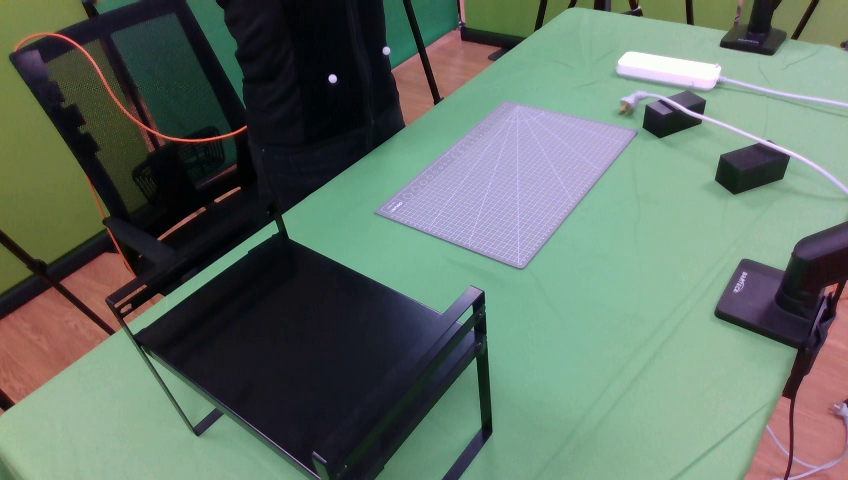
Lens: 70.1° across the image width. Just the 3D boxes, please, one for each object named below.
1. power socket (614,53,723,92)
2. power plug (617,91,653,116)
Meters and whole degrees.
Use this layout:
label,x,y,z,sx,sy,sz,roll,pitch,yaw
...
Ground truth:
label,x,y,z,sx,sy,sz,roll,pitch,yaw
power socket,0.528,-0.367,1.317,0.225,0.033,0.072,20,49,29
power plug,0.414,-0.273,1.206,0.035,0.052,0.072,35,3,-8
